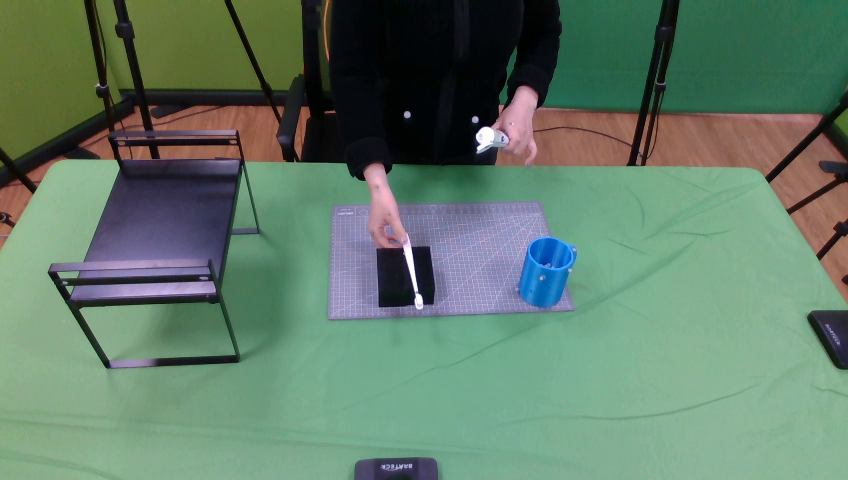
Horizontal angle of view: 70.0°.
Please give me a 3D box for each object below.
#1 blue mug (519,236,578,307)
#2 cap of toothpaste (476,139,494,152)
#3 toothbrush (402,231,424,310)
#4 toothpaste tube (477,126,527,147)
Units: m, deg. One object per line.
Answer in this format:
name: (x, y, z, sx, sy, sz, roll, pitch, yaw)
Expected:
blue mug: (0.234, 0.051, 1.101, 0.116, 0.106, 0.082, -23, 52, -24)
cap of toothpaste: (0.108, -0.170, 1.085, 0.037, 0.037, 0.011, -27, 88, -27)
toothbrush: (-0.022, 0.049, 1.080, 0.014, 0.017, 0.180, -10, 47, -4)
toothpaste tube: (0.147, -0.197, 1.163, 0.055, 0.034, 0.165, 45, 27, 18)
